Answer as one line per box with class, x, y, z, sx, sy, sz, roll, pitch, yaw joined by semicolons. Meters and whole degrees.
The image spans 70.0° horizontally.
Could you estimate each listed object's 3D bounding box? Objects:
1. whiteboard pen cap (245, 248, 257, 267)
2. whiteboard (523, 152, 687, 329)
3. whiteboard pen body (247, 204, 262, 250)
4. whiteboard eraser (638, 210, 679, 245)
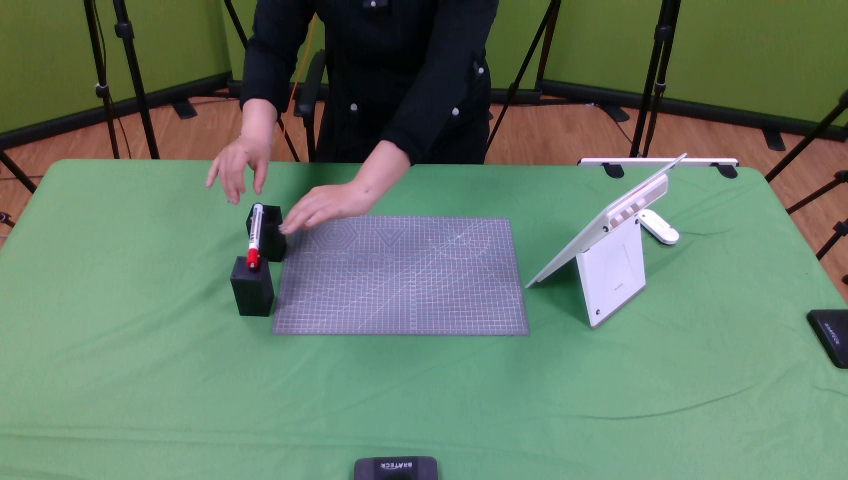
whiteboard pen cap;-0.288;0.028;1.011;0.017;0.017;0.032;-2;44;-6
whiteboard;0.346;0.025;1.046;0.217;0.306;0.143;-30;74;-29
whiteboard pen body;-0.295;-0.014;1.053;0.017;0.017;0.139;-2;44;-6
whiteboard eraser;0.485;-0.027;1.260;0.041;0.019;0.100;-20;50;-22
